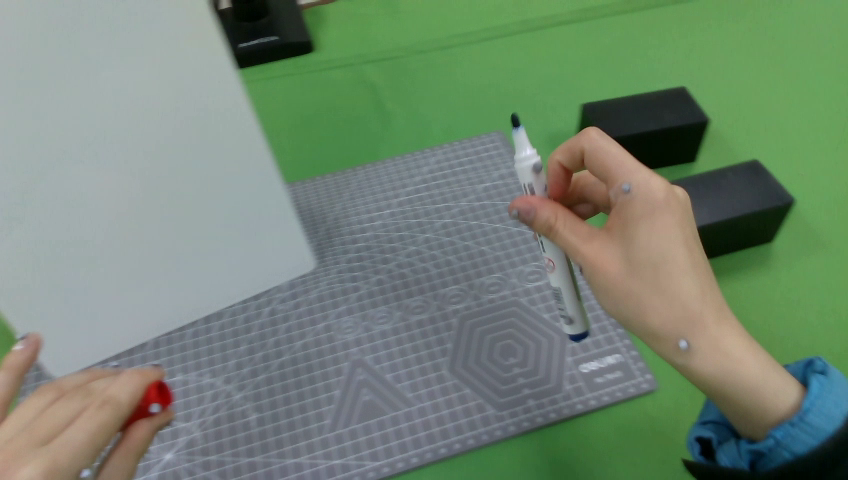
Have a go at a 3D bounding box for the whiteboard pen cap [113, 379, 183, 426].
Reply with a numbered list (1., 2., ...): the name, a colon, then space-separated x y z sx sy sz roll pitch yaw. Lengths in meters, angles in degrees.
1. whiteboard pen cap: -0.147 0.086 0.323 0.032 0.017 0.017 -21 51 7

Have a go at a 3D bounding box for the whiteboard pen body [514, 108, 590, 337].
1. whiteboard pen body: 0.072 -0.007 0.346 0.017 0.141 0.017 -18 17 6

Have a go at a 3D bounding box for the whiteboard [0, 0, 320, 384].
1. whiteboard: -0.241 -0.087 0.456 0.217 0.308 0.142 -23 33 -13
